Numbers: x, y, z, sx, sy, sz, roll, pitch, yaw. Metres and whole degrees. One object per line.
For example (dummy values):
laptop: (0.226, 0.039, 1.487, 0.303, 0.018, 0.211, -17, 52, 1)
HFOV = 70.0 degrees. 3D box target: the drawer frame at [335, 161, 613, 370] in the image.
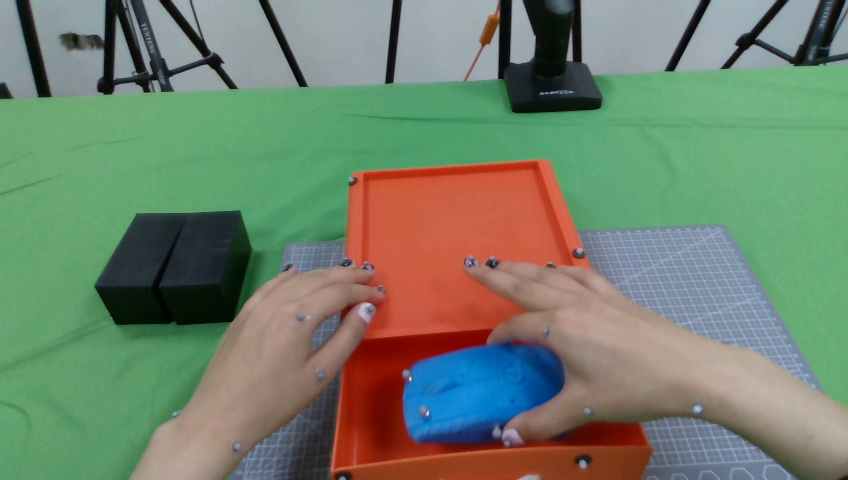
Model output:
drawer frame: (0.031, 0.028, 0.527, 0.202, 0.083, 0.211, -5, 40, -2)

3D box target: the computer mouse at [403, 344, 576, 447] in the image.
computer mouse: (0.043, 0.105, 0.412, 0.117, 0.041, 0.062, -6, 45, 7)

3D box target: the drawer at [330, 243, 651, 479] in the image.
drawer: (0.036, 0.091, 0.456, 0.194, 0.074, 0.209, -4, 41, -1)
